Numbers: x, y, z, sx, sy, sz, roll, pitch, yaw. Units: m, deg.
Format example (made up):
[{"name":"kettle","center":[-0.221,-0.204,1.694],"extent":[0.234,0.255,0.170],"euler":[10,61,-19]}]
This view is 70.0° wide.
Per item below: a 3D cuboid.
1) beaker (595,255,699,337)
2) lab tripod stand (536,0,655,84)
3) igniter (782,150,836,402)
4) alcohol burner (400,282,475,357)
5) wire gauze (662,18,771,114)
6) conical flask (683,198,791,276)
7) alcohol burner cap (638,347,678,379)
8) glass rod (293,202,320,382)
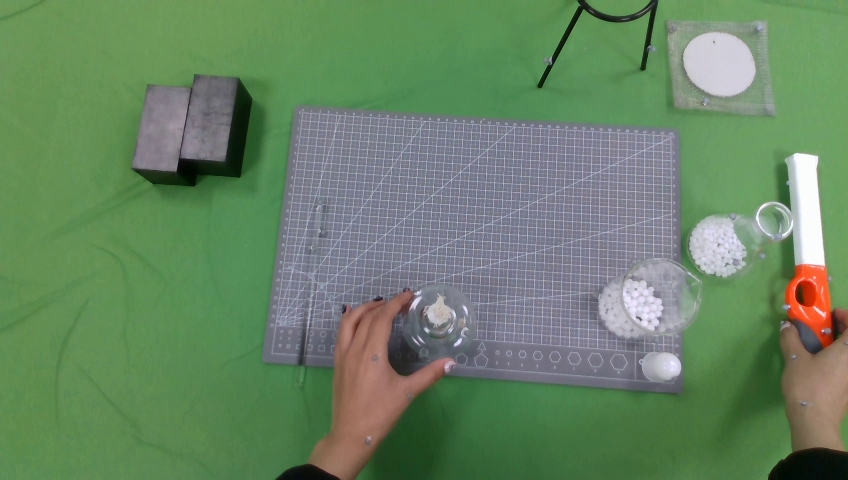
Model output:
[{"name":"beaker","center":[0.222,0.060,0.616],"extent":[0.084,0.100,0.073],"euler":[-19,78,-4]},{"name":"lab tripod stand","center":[0.189,-0.244,0.667],"extent":[0.148,0.132,0.148],"euler":[0,79,1]},{"name":"igniter","center":[0.414,0.035,0.656],"extent":[0.057,0.025,0.275],"euler":[7,77,-8]},{"name":"alcohol burner","center":[0.012,0.077,0.607],"extent":[0.078,0.119,0.077],"euler":[-1,76,3]},{"name":"wire gauze","center":[0.349,-0.211,0.723],"extent":[0.125,0.011,0.121],"euler":[3,78,-1]},{"name":"conical flask","center":[0.324,-0.008,0.621],"extent":[0.075,0.122,0.075],"euler":[0,77,1]},{"name":"alcohol burner cap","center":[0.246,0.127,0.630],"extent":[0.034,0.048,0.033],"euler":[0,77,1]},{"name":"glass rod","center":[-0.129,0.055,0.666],"extent":[0.008,0.008,0.199],"euler":[5,81,2]}]
